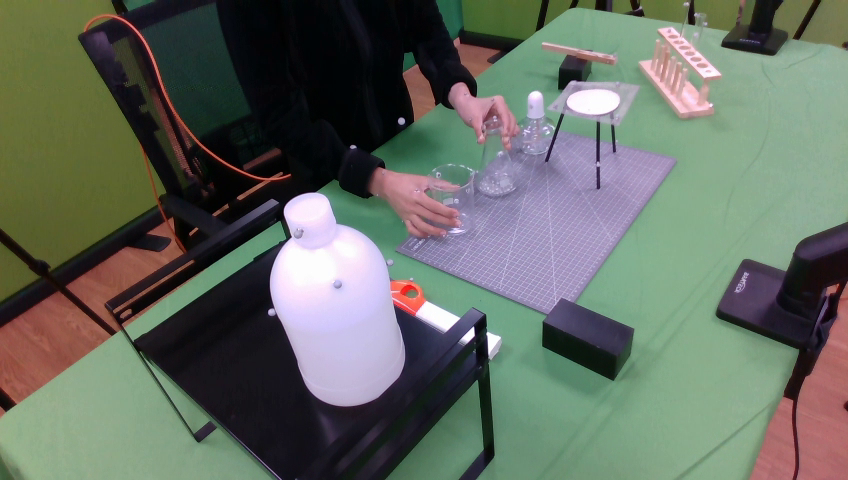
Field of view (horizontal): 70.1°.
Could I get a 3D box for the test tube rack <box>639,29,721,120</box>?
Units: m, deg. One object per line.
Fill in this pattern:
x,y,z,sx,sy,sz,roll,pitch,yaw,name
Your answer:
0.527,-0.351,1.262,0.067,0.085,0.241,-8,40,1,test tube rack

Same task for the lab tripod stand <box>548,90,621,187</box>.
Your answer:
0.289,-0.184,1.062,0.148,0.132,0.147,-6,41,6,lab tripod stand

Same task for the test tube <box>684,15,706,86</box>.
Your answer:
0.541,-0.378,1.216,0.017,0.151,0.017,-2,44,3,test tube

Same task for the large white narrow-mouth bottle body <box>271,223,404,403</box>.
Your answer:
-0.077,0.048,0.525,0.102,0.195,0.101,-5,40,4,large white narrow-mouth bottle body

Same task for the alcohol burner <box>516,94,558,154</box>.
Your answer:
0.212,-0.221,1.134,0.078,0.119,0.077,-5,42,5,alcohol burner

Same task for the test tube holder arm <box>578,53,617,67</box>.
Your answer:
0.376,-0.393,1.314,0.087,0.015,0.010,26,51,32,test tube holder arm

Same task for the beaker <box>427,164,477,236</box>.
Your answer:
0.051,-0.064,0.986,0.084,0.101,0.073,-23,43,-17,beaker

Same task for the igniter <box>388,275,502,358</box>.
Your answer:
-0.009,0.094,0.870,0.274,0.025,0.057,25,60,33,igniter

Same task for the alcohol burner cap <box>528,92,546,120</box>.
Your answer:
0.206,-0.249,1.112,0.034,0.048,0.033,-6,35,5,alcohol burner cap

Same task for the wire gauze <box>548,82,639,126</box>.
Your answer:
0.286,-0.235,1.019,0.124,0.011,0.121,17,46,28,wire gauze

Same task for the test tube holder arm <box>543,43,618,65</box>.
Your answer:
0.344,-0.413,1.340,0.177,0.015,0.013,25,51,31,test tube holder arm

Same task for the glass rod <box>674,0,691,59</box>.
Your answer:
0.537,-0.437,1.257,0.008,0.200,0.008,0,39,1,glass rod

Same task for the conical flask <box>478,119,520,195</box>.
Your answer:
0.124,-0.143,1.036,0.075,0.122,0.075,-7,39,6,conical flask

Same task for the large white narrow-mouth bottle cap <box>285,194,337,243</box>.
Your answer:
-0.087,-0.017,0.467,0.038,0.024,0.037,-4,40,4,large white narrow-mouth bottle cap
